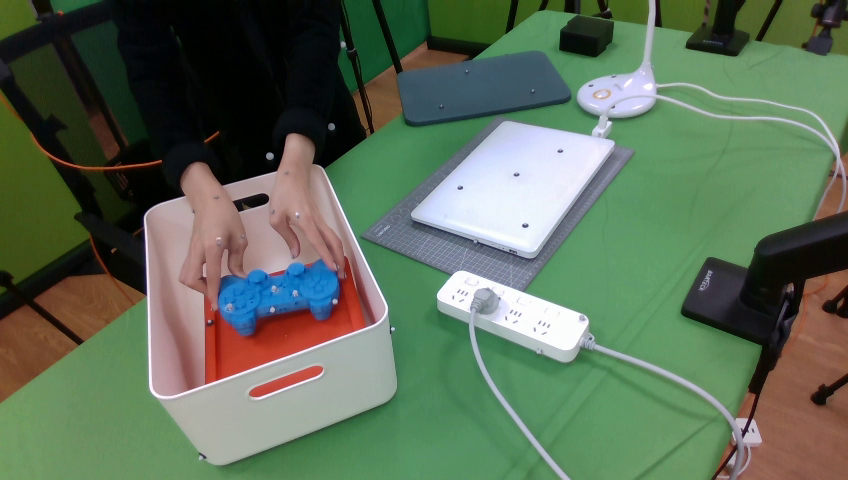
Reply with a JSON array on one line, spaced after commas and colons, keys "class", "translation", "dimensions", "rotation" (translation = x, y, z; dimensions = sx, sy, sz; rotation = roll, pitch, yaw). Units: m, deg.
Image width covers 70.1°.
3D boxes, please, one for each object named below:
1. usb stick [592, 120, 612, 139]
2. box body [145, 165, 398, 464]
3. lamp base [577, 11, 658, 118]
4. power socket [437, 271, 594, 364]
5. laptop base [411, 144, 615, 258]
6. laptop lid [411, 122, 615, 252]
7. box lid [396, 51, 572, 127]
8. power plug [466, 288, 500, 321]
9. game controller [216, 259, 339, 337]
[{"class": "usb stick", "translation": [0.335, -0.203, 1.148], "dimensions": [0.021, 0.027, 0.059], "rotation": [25, 52, 26]}, {"class": "box body", "translation": [-0.205, 0.080, 0.802], "dimensions": [0.255, 0.161, 0.361], "rotation": [-18, 41, -12]}, {"class": "lamp base", "translation": [0.406, -0.363, 1.223], "dimensions": [0.180, 0.181, 0.159], "rotation": [-20, 42, -18]}, {"class": "power socket", "translation": [0.118, 0.102, 0.830], "dimensions": [0.225, 0.033, 0.072], "rotation": [20, 48, 28]}, {"class": "laptop base", "translation": [0.167, -0.102, 1.074], "dimensions": [0.234, 0.023, 0.355], "rotation": [16, 45, 30]}, {"class": "laptop lid", "translation": [0.164, -0.112, 1.068], "dimensions": [0.240, 0.013, 0.357], "rotation": [19, 46, 31]}, {"class": "box lid", "translation": [0.128, -0.350, 1.380], "dimensions": [0.372, 0.015, 0.261], "rotation": [-10, 41, -2]}, {"class": "power plug", "translation": [0.072, 0.093, 0.813], "dimensions": [0.035, 0.053, 0.073], "rotation": [30, 54, 35]}, {"class": "game controller", "translation": [-0.184, 0.063, 0.767], "dimensions": [0.156, 0.052, 0.096], "rotation": [-10, 50, -13]}]
